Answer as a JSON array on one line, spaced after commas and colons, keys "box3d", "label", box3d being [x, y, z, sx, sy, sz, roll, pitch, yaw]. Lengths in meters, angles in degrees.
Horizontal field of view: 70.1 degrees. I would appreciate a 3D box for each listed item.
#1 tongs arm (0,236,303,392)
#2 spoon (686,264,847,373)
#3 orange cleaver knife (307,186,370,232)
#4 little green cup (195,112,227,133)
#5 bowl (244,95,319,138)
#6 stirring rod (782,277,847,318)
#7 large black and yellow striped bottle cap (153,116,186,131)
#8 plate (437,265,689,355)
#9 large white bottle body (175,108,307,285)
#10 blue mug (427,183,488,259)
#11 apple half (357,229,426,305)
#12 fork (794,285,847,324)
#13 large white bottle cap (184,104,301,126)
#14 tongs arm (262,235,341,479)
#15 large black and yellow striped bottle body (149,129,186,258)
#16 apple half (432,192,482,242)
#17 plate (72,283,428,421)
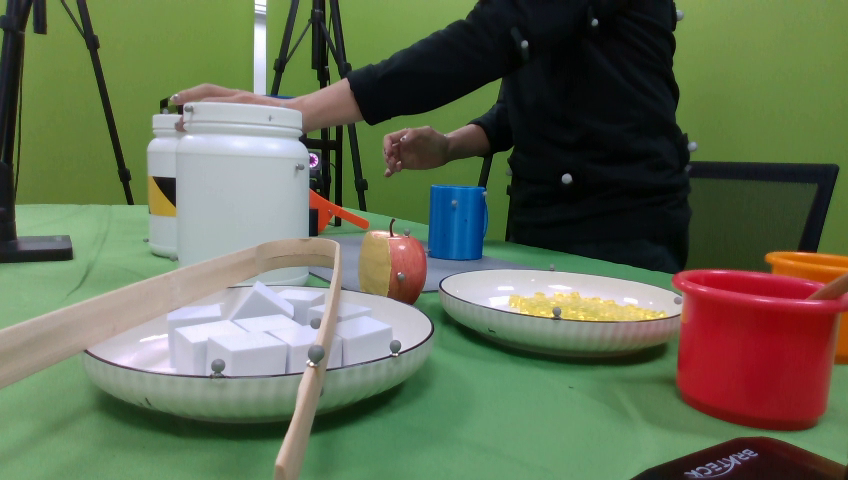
[{"box3d": [-0.157, 0.037, 0.351, 0.028, 0.028, 0.388, -3, 8, 12], "label": "tongs arm"}, {"box3d": [0.214, 0.032, 0.327, 0.042, 0.021, 0.193, -3, -35, -26], "label": "spoon"}, {"box3d": [-0.197, -0.056, 1.141, 0.212, 0.077, 0.012, 29, 0, -35], "label": "orange cleaver knife"}, {"box3d": [-0.412, -0.227, 1.171, 0.061, 0.038, 0.061, 3, 8, 0], "label": "little green cup"}, {"box3d": [-0.293, -0.251, 1.249, 0.151, 0.077, 0.151, 2, 8, 0], "label": "bowl"}, {"box3d": [0.344, 0.019, 0.460, 0.014, 0.006, 0.176, -13, -27, -30], "label": "stirring rod"}, {"box3d": [-0.308, -0.156, 0.827, 0.115, 0.019, 0.115, 2, 6, 0], "label": "large black and yellow striped bottle cap"}, {"box3d": [0.114, 0.057, 0.517, 0.209, 0.038, 0.209, 3, 8, 0], "label": "plate"}, {"box3d": [-0.188, -0.042, 0.630, 0.131, 0.184, 0.130, 2, 8, 0], "label": "large white bottle body"}, {"box3d": [0.059, -0.031, 0.907, 0.082, 0.106, 0.117, 9, 10, 42], "label": "blue mug"}, {"box3d": [-0.026, 0.028, 0.570, 0.053, 0.074, 0.080, 2, 2, -28], "label": "apple half"}, {"box3d": [0.332, 0.018, 0.442, 0.028, 0.018, 0.207, 0, -36, -15], "label": "fork"}, {"box3d": [-0.184, -0.126, 0.618, 0.115, 0.018, 0.115, 2, 8, 0], "label": "large white bottle cap"}, {"box3d": [-0.074, 0.039, 0.349, 0.051, 0.026, 0.384, -1, 9, -3], "label": "tongs arm"}, {"box3d": [-0.310, -0.073, 0.838, 0.131, 0.184, 0.130, 2, 8, 0], "label": "large black and yellow striped bottle body"}, {"box3d": [0.048, -0.036, 0.906, 0.081, 0.081, 0.033, 2, 15, -1], "label": "apple half"}, {"box3d": [-0.102, 0.066, 0.381, 0.208, 0.039, 0.207, 2, 7, 0], "label": "plate"}]
